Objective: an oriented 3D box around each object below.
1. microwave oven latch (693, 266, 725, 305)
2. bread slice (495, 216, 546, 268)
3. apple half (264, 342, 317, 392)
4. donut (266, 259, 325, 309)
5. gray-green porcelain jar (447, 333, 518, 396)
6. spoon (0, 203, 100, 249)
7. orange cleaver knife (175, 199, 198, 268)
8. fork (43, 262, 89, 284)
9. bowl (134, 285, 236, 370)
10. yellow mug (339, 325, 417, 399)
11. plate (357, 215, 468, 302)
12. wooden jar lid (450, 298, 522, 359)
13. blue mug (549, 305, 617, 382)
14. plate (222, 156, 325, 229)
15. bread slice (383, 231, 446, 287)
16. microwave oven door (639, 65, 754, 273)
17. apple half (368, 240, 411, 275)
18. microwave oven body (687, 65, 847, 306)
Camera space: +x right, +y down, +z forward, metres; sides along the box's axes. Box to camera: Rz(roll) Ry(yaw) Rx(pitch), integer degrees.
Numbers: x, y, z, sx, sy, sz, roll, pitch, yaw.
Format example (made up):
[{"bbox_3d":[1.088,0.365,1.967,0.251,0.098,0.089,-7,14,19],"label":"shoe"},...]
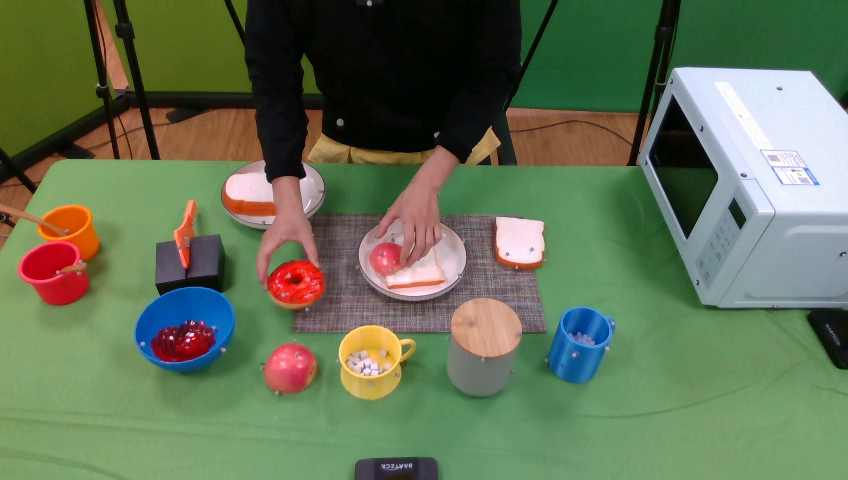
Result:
[{"bbox_3d":[0.523,0.082,1.115,0.030,0.029,0.078,3,46,0],"label":"microwave oven latch"},{"bbox_3d":[0.194,0.002,1.205,0.105,0.019,0.131,5,45,2],"label":"bread slice"},{"bbox_3d":[-0.214,0.198,0.970,0.074,0.053,0.080,19,48,10],"label":"apple half"},{"bbox_3d":[-0.220,0.076,1.042,0.099,0.048,0.098,2,47,-2],"label":"donut"},{"bbox_3d":[0.091,0.178,0.960,0.106,0.127,0.105,2,46,-2],"label":"gray-green porcelain jar"},{"bbox_3d":[-0.683,-0.031,1.088,0.195,0.021,0.041,33,33,-38],"label":"spoon"},{"bbox_3d":[-0.438,-0.017,1.138,0.012,0.077,0.210,-13,27,-7],"label":"orange cleaver knife"},{"bbox_3d":[-0.599,0.053,1.013,0.207,0.019,0.028,-14,30,45],"label":"fork"},{"bbox_3d":[-0.377,0.155,0.981,0.151,0.077,0.150,2,46,-2],"label":"bowl"},{"bbox_3d":[-0.072,0.190,0.978,0.131,0.064,0.099,-17,50,-20],"label":"yellow mug"},{"bbox_3d":[-0.022,0.037,1.141,0.208,0.039,0.206,2,46,-2],"label":"plate"},{"bbox_3d":[0.093,0.135,0.914,0.108,0.021,0.107,3,48,-3],"label":"wooden jar lid"},{"bbox_3d":[0.269,0.166,0.998,0.116,0.106,0.082,-19,51,-21],"label":"blue mug"},{"bbox_3d":[-0.307,-0.095,1.251,0.209,0.038,0.208,2,47,-2],"label":"plate"},{"bbox_3d":[-0.027,0.033,1.143,0.107,0.018,0.133,-8,44,-11],"label":"bread slice"},{"bbox_3d":[0.522,-0.147,1.192,0.039,0.245,0.353,0,47,-3],"label":"microwave oven door"},{"bbox_3d":[-0.067,0.024,1.121,0.081,0.033,0.081,1,48,-1],"label":"apple half"},{"bbox_3d":[0.669,-0.111,1.176,0.326,0.261,0.439,0,46,-3],"label":"microwave oven body"}]
